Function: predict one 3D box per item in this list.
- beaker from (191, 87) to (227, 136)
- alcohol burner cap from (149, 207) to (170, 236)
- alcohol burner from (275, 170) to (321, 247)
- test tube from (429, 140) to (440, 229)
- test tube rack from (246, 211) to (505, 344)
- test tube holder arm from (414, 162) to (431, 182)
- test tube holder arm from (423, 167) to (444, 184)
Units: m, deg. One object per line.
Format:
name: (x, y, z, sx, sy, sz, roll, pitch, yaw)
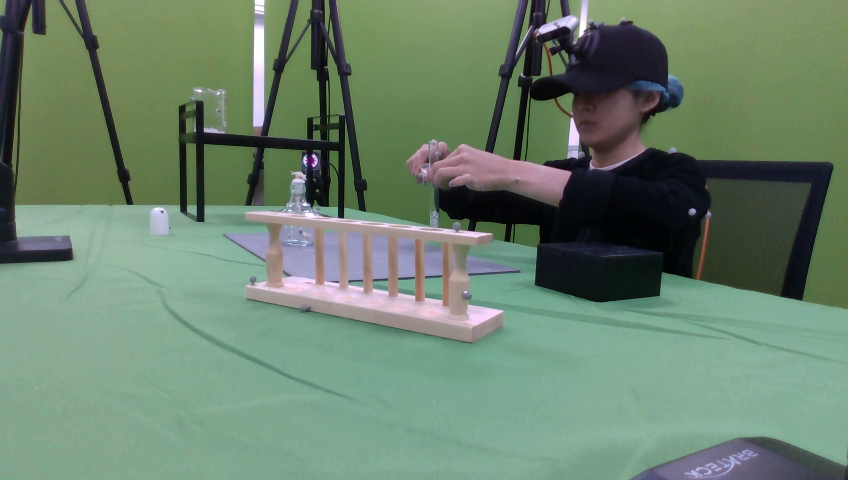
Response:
beaker: (-0.476, -0.284, 1.345, 0.074, 0.100, 0.083, -3, 10, -37)
alcohol burner cap: (-0.446, -0.032, 1.019, 0.034, 0.048, 0.034, 5, 8, 0)
alcohol burner: (-0.199, -0.049, 0.948, 0.078, 0.119, 0.078, 1, 7, 0)
test tube: (0.017, -0.082, 0.955, 0.017, 0.150, 0.017, -1, 12, 0)
test tube rack: (-0.049, 0.025, 0.547, 0.241, 0.085, 0.067, 7, 8, 29)
test tube holder arm: (-0.004, -0.118, 1.034, 0.013, 0.015, 0.178, 12, 12, -11)
test tube holder arm: (0.011, -0.106, 0.994, 0.010, 0.015, 0.087, 8, 13, -25)
